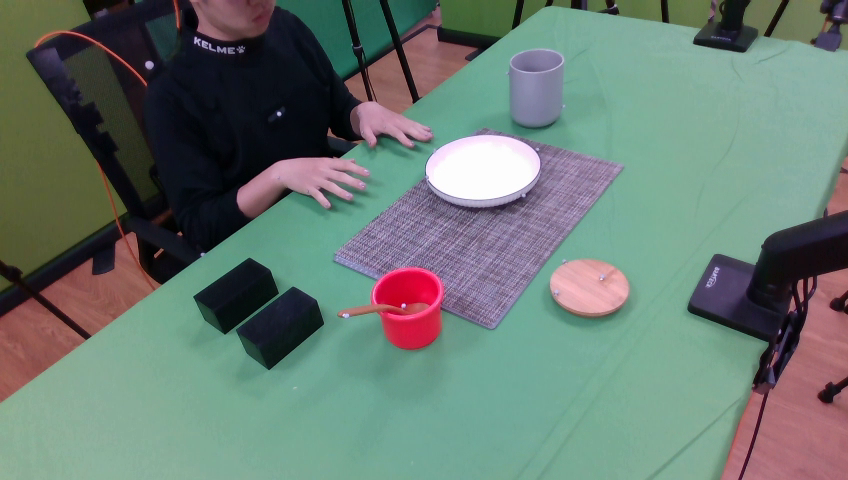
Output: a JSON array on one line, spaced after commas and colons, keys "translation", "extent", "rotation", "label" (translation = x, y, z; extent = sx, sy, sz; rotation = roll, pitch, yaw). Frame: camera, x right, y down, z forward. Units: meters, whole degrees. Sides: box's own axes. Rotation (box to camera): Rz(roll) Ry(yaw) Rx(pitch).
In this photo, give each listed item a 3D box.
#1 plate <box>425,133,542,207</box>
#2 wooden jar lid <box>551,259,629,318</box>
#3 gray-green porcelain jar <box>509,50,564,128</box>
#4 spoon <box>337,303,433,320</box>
[{"translation": [0.106, -0.122, 1.079], "extent": [0.207, 0.039, 0.206], "rotation": [-4, 41, 4], "label": "plate"}, {"translation": [0.234, 0.070, 0.857], "extent": [0.108, 0.021, 0.108], "rotation": [-5, 40, 5], "label": "wooden jar lid"}, {"translation": [0.222, -0.297, 1.204], "extent": [0.106, 0.127, 0.105], "rotation": [-4, 41, 4], "label": "gray-green porcelain jar"}, {"translation": [-0.048, 0.091, 0.777], "extent": [0.041, 0.021, 0.195], "rotation": [23, 5, 32], "label": "spoon"}]
